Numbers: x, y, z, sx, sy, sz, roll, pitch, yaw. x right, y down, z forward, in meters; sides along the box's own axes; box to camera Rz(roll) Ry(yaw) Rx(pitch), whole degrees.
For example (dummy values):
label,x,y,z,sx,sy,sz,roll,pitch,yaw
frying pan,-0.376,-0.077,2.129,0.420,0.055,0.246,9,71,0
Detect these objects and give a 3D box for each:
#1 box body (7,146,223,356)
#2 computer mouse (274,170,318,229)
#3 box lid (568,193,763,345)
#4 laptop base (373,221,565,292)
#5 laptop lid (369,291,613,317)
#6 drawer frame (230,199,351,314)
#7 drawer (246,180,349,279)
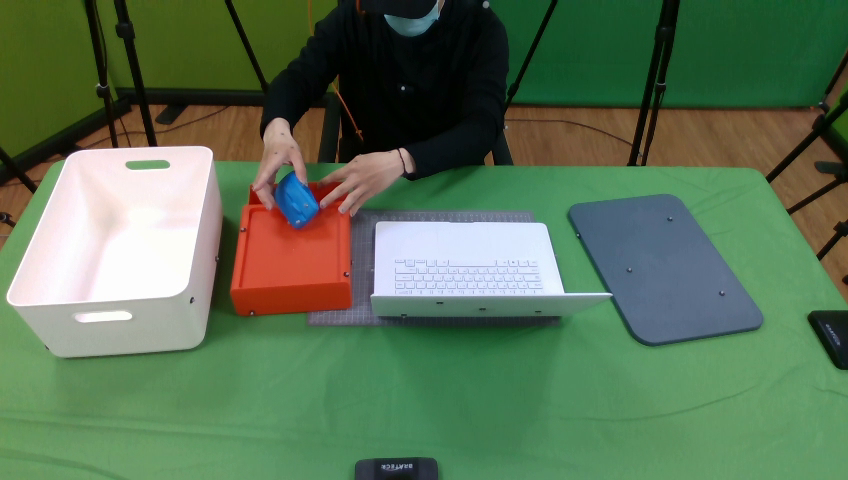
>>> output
label,x,y,z,sx,sy,sz,roll,pitch,yaw
box body,-0.499,0.012,1.051,0.254,0.161,0.361,-3,47,-7
computer mouse,-0.239,-0.077,1.120,0.063,0.041,0.116,-42,55,14
box lid,0.464,0.040,1.203,0.264,0.015,0.369,-7,47,-11
laptop base,0.080,0.049,1.158,0.355,0.023,0.234,0,43,-4
laptop lid,0.092,0.104,0.965,0.357,0.242,0.013,0,76,-5
drawer frame,-0.236,0.025,1.112,0.202,0.083,0.212,-3,47,-6
drawer,-0.241,-0.021,1.155,0.195,0.073,0.210,-2,46,-6
